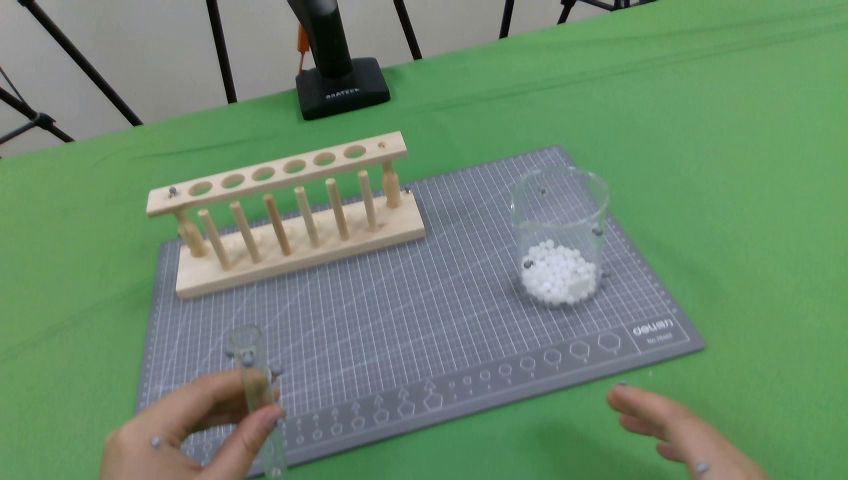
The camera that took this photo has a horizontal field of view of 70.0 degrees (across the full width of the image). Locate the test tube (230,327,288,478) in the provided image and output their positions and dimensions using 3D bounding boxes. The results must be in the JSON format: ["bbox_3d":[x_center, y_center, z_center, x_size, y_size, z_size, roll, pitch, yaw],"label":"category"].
[{"bbox_3d":[-0.094,0.102,0.355,0.017,0.151,0.017,3,44,-2],"label":"test tube"}]

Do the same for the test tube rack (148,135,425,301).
[{"bbox_3d":[-0.128,-0.022,0.585,0.242,0.086,0.066,-14,42,-4],"label":"test tube rack"}]

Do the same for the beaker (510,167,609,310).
[{"bbox_3d":[0.109,0.004,0.499,0.084,0.101,0.073,-28,44,-17],"label":"beaker"}]
